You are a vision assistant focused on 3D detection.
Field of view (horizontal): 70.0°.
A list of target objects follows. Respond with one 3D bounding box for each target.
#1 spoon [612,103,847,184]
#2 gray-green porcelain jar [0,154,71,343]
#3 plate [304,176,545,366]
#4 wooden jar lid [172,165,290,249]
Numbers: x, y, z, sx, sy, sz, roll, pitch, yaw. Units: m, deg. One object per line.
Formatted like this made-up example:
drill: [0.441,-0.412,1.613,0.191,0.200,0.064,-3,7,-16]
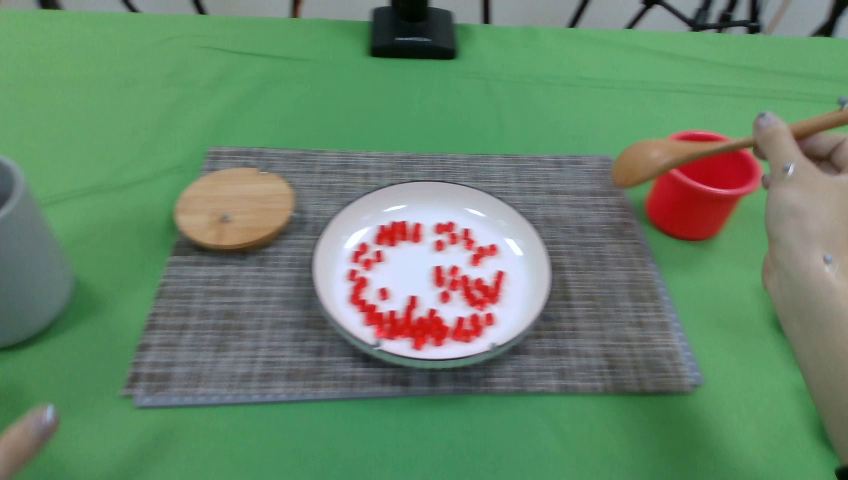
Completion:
spoon: [0.227,-0.075,0.438,0.193,0.022,0.041,-10,57,36]
gray-green porcelain jar: [-0.343,0.011,0.463,0.106,0.127,0.105,3,47,-3]
plate: [0.001,0.026,0.536,0.208,0.039,0.205,3,47,-3]
wooden jar lid: [-0.184,-0.031,0.584,0.108,0.021,0.107,3,46,-3]
